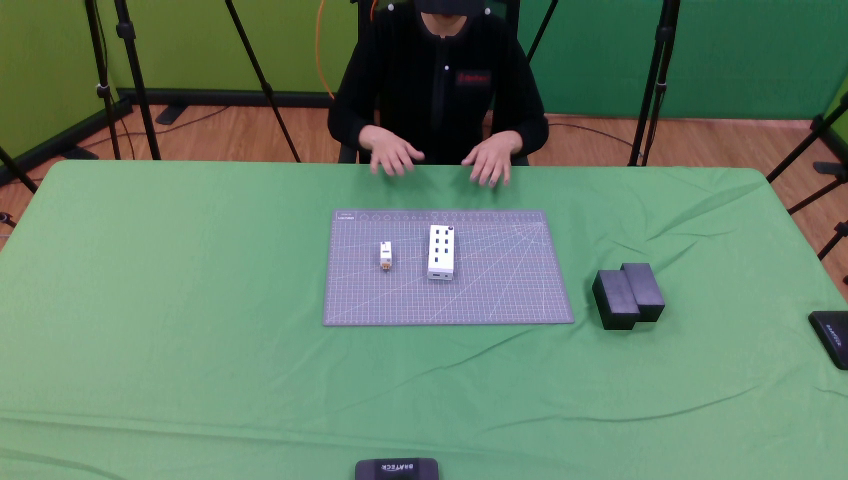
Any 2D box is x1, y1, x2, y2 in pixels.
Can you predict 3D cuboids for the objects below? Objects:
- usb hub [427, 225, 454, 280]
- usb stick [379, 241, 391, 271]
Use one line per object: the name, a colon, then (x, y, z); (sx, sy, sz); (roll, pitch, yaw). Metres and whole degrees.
usb hub: (0.033, 0.022, 1.174); (0.049, 0.025, 0.124); (4, 46, 0)
usb stick: (-0.074, 0.031, 1.156); (0.021, 0.027, 0.059); (1, 49, -5)
